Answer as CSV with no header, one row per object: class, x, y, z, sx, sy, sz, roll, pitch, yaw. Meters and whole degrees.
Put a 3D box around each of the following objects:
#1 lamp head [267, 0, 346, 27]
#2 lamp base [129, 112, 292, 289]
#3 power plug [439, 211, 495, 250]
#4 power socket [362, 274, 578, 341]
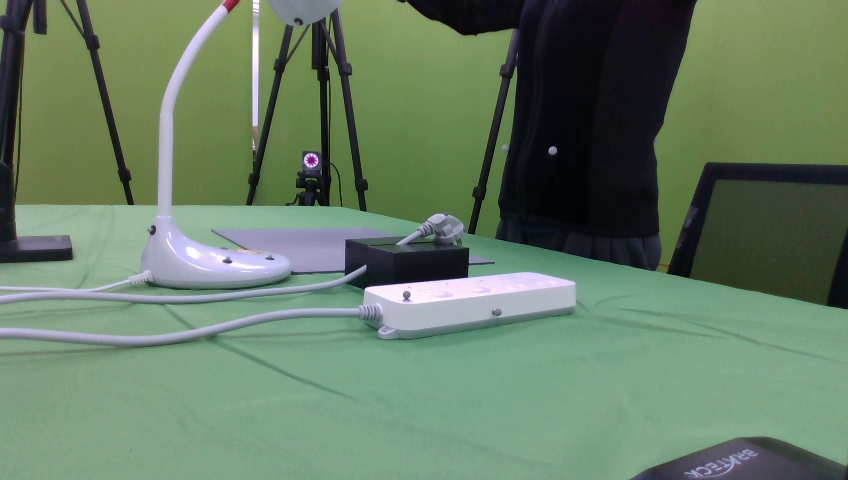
lamp head,-0.157,-0.326,0.701,0.112,0.112,0.123,6,-16,26
lamp base,-0.233,-0.045,0.658,0.160,0.180,0.180,7,11,29
power plug,0.048,-0.006,0.683,0.072,0.053,0.035,15,57,39
power socket,0.048,0.056,0.549,0.228,0.032,0.072,-3,8,-35
